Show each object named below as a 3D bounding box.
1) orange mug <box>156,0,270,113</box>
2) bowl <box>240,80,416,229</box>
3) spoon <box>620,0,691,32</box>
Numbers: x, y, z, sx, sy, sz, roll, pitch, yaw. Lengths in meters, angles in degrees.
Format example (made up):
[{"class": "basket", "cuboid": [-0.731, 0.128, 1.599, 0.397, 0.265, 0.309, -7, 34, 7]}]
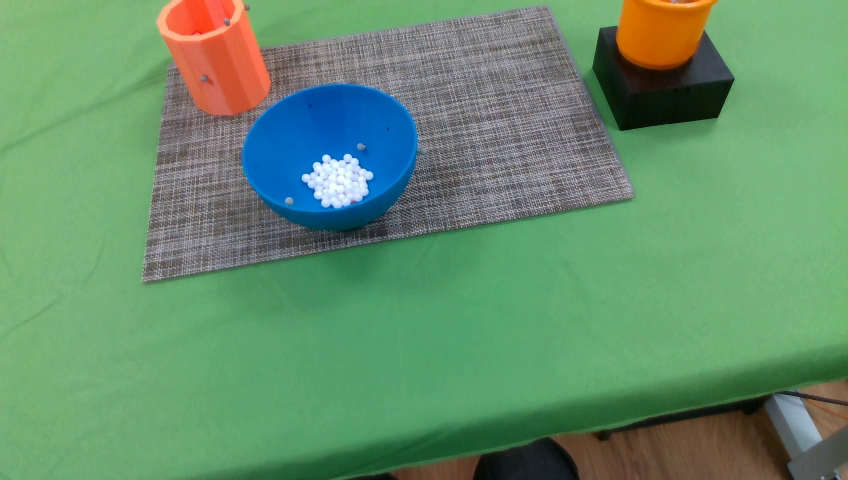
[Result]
[{"class": "orange mug", "cuboid": [-0.216, -0.213, 0.643, 0.083, 0.101, 0.125, 1, 60, 5]}, {"class": "bowl", "cuboid": [-0.078, -0.063, 0.543, 0.151, 0.077, 0.150, -2, 55, 3]}, {"class": "spoon", "cuboid": [0.259, -0.229, 0.534, 0.022, 0.193, 0.041, 48, 56, -17]}]
